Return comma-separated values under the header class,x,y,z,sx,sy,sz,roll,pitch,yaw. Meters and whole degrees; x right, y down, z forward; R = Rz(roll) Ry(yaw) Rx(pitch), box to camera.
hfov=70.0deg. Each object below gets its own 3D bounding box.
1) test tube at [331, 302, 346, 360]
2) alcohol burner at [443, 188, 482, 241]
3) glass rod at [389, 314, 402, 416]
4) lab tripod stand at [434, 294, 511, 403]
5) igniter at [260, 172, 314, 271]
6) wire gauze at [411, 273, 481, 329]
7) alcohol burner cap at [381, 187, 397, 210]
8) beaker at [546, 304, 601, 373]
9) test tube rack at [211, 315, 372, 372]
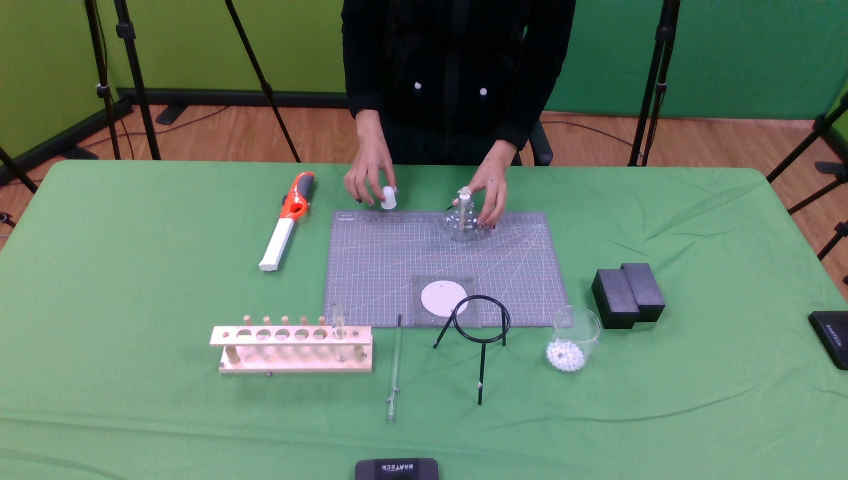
class,x,y,z,sx,sy,sz,roll,pitch,yaw
test tube,-0.132,0.144,0.938,0.017,0.151,0.017,2,49,-3
alcohol burner,0.077,-0.056,1.190,0.078,0.120,0.077,1,48,-1
glass rod,-0.048,0.203,1.007,0.008,0.008,0.198,4,45,0
lab tripod stand,0.087,0.164,0.969,0.148,0.132,0.147,3,47,-3
igniter,-0.272,-0.046,1.220,0.057,0.025,0.275,0,45,10
wire gauze,0.038,0.108,1.103,0.125,0.011,0.120,2,47,-3
alcohol burner cap,-0.074,-0.088,1.241,0.034,0.048,0.033,-1,55,2
beaker,0.242,0.167,1.001,0.084,0.101,0.073,-32,55,-28
test tube rack,-0.208,0.163,0.982,0.242,0.085,0.066,1,46,-4
